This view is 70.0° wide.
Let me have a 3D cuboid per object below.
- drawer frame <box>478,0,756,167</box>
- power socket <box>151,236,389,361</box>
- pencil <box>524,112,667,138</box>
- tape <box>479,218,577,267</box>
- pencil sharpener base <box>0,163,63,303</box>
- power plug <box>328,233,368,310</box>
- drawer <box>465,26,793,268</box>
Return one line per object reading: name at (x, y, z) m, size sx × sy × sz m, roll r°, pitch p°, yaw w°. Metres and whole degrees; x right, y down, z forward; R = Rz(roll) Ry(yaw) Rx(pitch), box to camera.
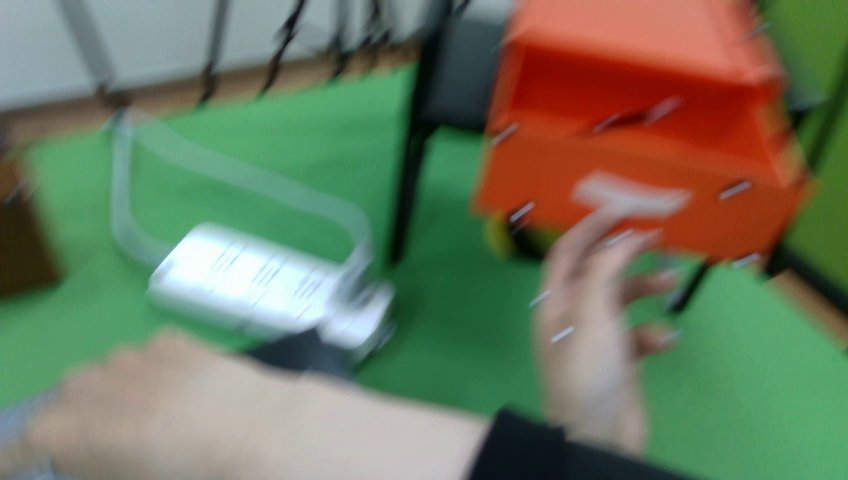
drawer frame at (0.157, -0.167, 0.547) m, size 0.202 × 0.083 × 0.211 m, roll 9°, pitch 42°, yaw 1°
power socket at (-0.142, 0.052, 0.563) m, size 0.226 × 0.033 × 0.072 m, roll 15°, pitch 42°, yaw 8°
pencil at (0.127, -0.091, 0.496) m, size 0.195 × 0.012 × 0.012 m, roll -12°, pitch 46°, yaw -25°
tape at (0.122, -0.028, 0.679) m, size 0.117 × 0.053 × 0.115 m, roll 5°, pitch 44°, yaw -5°
pencil sharpener base at (-0.375, -0.002, 0.527) m, size 0.077 × 0.108 × 0.060 m, roll -22°, pitch 51°, yaw -28°
power plug at (-0.060, 0.036, 0.559) m, size 0.035 × 0.053 × 0.072 m, roll 24°, pitch 45°, yaw 15°
drawer at (0.141, -0.087, 0.463) m, size 0.194 × 0.074 × 0.210 m, roll 11°, pitch 41°, yaw 2°
